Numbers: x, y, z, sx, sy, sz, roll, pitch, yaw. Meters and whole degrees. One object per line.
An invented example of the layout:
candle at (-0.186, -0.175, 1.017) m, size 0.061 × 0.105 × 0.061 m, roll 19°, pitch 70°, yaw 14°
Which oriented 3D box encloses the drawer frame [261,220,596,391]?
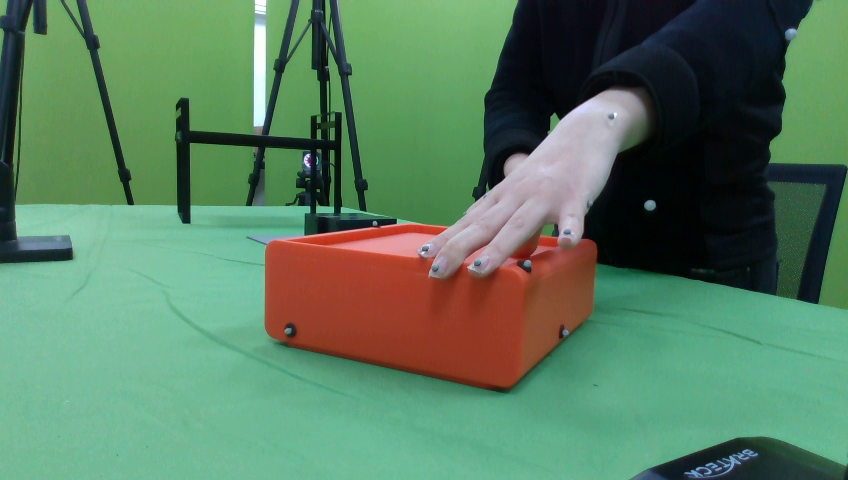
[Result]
drawer frame at (0.016, 0.036, 0.494) m, size 0.201 × 0.082 × 0.214 m, roll 6°, pitch 9°, yaw 26°

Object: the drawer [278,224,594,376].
drawer at (0.021, 0.037, 0.505) m, size 0.194 × 0.073 × 0.212 m, roll 7°, pitch 10°, yaw 27°

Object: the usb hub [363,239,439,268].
usb hub at (-0.029, 0.017, 0.828) m, size 0.049 × 0.025 × 0.126 m, roll 5°, pitch 7°, yaw 29°
